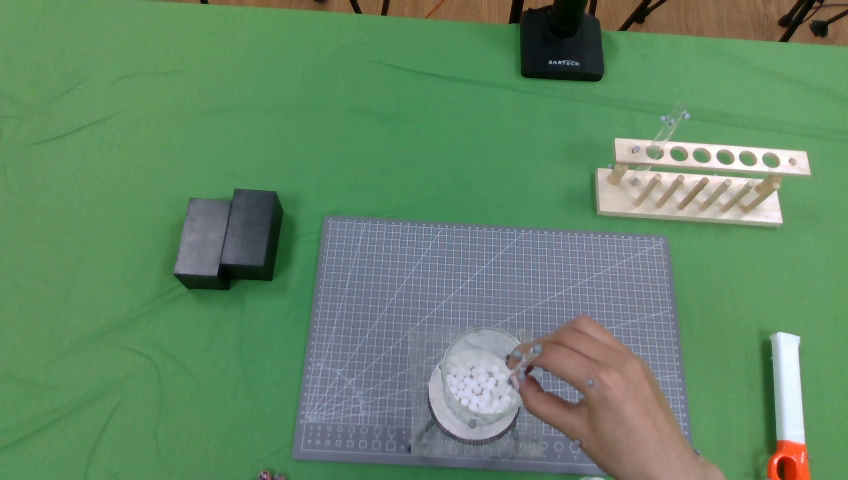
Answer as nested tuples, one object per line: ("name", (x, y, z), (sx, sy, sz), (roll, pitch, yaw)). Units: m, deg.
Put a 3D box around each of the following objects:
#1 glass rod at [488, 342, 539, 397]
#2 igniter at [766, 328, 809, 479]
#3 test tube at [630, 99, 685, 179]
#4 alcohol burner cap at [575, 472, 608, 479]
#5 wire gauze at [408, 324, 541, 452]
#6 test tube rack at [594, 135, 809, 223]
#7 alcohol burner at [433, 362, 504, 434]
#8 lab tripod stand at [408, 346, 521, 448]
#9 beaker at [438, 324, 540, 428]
("glass rod", (0.065, 0.105, 0.472), (0.008, 0.201, 0.008), (1, 67, -2))
("igniter", (0.413, 0.234, 0.685), (0.057, 0.025, 0.274), (14, 67, -7))
("test tube", (0.283, -0.119, 0.744), (0.017, 0.151, 0.017), (1, 63, -1))
("alcohol burner cap", (0.184, 0.266, 0.654), (0.034, 0.048, 0.033), (1, 65, -1))
("wire gauze", (0.046, 0.139, 0.577), (0.125, 0.011, 0.120), (0, 65, 0))
("test tube rack", (0.354, -0.077, 0.783), (0.242, 0.086, 0.066), (4, 66, -1))
("alcohol burner", (0.049, 0.165, 0.648), (0.078, 0.120, 0.077), (2, 65, -3))
("lab tripod stand", (0.044, 0.168, 0.636), (0.148, 0.132, 0.147), (0, 66, 0))
("beaker", (0.051, 0.123, 0.531), (0.084, 0.101, 0.073), (-1, 66, -3))
